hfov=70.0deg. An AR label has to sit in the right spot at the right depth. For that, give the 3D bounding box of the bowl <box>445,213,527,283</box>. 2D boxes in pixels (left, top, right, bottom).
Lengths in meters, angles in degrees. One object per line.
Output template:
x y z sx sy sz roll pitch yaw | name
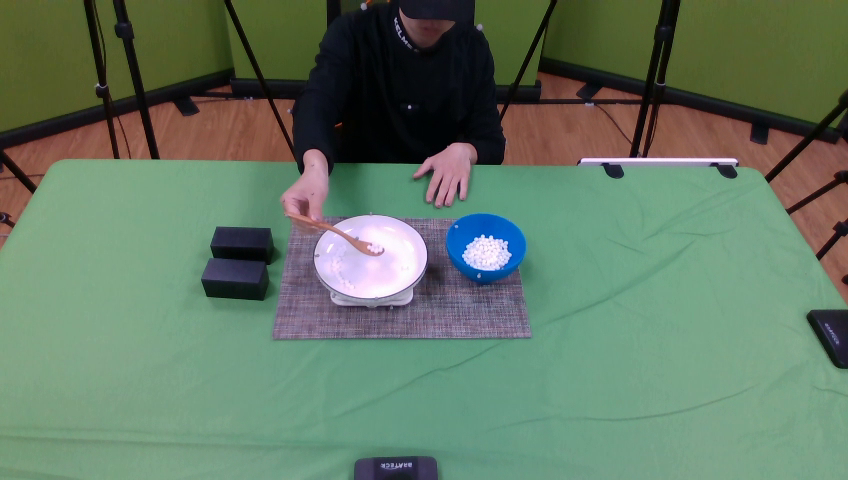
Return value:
0.111 0.028 1.137 0.151 0.077 0.150 2 46 -2 | bowl

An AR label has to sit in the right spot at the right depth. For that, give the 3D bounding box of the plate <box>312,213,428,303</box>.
-0.097 0.036 1.100 0.209 0.038 0.208 2 46 -2 | plate

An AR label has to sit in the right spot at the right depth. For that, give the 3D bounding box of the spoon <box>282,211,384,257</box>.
-0.153 -0.012 1.039 0.195 0.021 0.041 28 23 -30 | spoon

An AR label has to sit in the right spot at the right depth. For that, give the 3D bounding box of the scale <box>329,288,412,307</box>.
-0.098 0.042 1.139 0.149 0.032 0.199 1 46 -4 | scale
